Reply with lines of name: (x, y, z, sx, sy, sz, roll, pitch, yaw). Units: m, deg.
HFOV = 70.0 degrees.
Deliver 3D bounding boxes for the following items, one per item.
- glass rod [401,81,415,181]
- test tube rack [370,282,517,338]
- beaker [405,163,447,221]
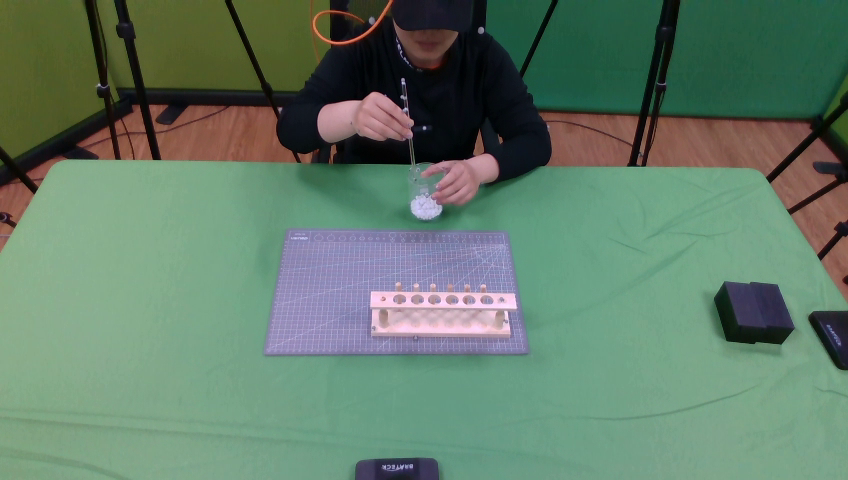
glass rod: (-0.028, -0.187, 1.072, 0.008, 0.201, 0.008, -3, 40, 3)
test tube rack: (0.030, 0.116, 1.041, 0.242, 0.085, 0.066, 1, 46, -3)
beaker: (0.006, -0.096, 1.221, 0.084, 0.101, 0.073, -16, 48, -14)
